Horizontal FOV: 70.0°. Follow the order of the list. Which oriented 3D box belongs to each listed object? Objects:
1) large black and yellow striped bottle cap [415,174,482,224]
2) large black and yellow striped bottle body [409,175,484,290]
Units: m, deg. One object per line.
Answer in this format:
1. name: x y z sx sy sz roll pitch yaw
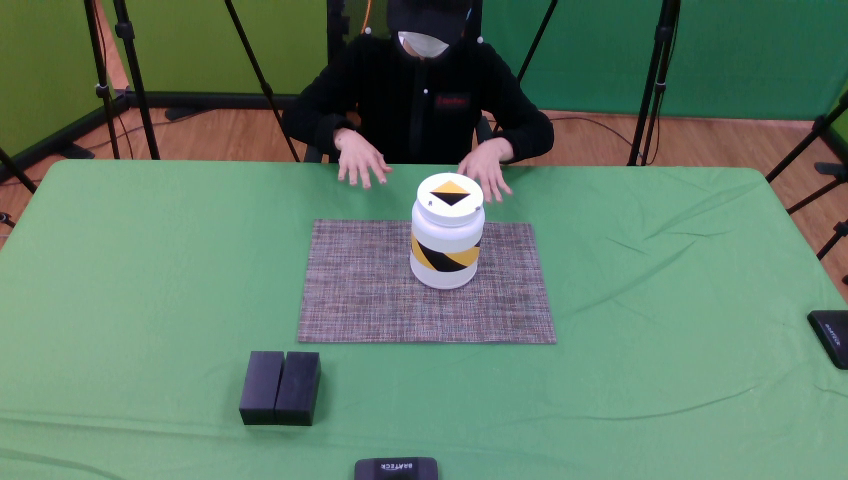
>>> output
1. large black and yellow striped bottle cap: 0.042 -0.072 1.036 0.115 0.019 0.114 3 44 -3
2. large black and yellow striped bottle body: 0.039 -0.013 1.096 0.131 0.185 0.130 2 46 -2
